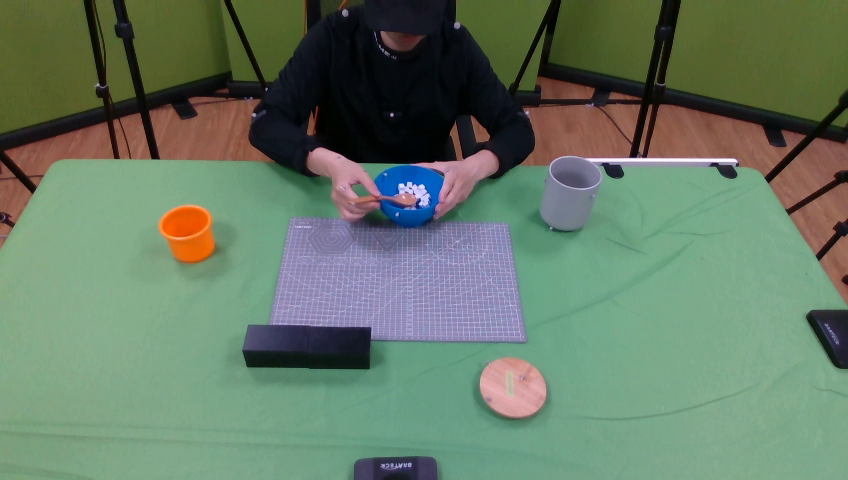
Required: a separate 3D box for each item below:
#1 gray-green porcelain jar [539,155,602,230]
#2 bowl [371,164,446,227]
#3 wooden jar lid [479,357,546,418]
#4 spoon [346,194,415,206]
[{"bbox_3d":[0.294,-0.091,1.235,0.106,0.127,0.105,2,46,-2],"label":"gray-green porcelain jar"},{"bbox_3d":[-0.032,-0.079,1.229,0.151,0.077,0.150,2,43,-2],"label":"bowl"},{"bbox_3d":[0.142,0.240,0.979,0.108,0.021,0.107,1,46,-1],"label":"wooden jar lid"},{"bbox_3d":[-0.083,-0.079,1.176,0.041,0.021,0.194,39,23,27],"label":"spoon"}]
